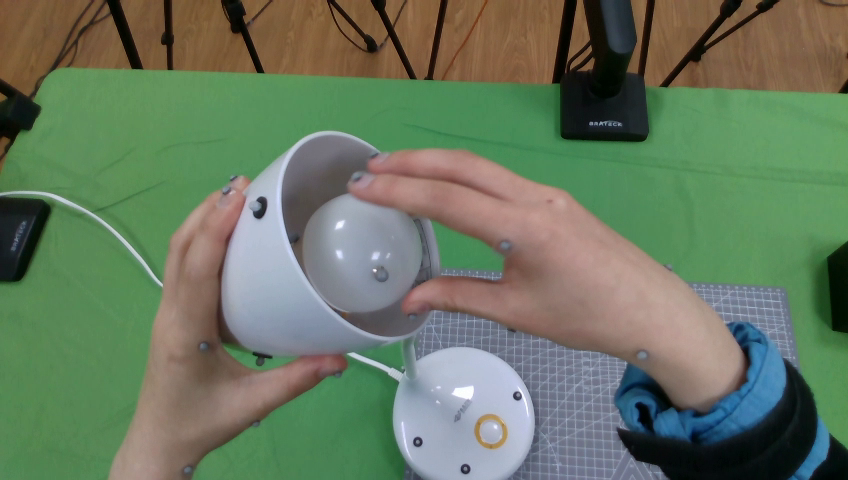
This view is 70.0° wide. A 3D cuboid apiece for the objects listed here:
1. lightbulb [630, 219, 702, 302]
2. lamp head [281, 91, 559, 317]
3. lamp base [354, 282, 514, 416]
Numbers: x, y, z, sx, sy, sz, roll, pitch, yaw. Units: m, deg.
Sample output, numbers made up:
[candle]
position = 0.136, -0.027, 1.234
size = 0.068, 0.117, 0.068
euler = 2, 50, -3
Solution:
[lightbulb]
position = 0.264, 0.020, 0.674
size = 0.059, 0.060, 0.106
euler = -21, 57, -2
[lamp head]
position = -0.009, -0.023, 0.306
size = 0.123, 0.113, 0.112
euler = 8, 73, -5
[lamp base]
position = 0.000, 0.087, 0.604
size = 0.179, 0.181, 0.160
euler = 9, 73, 10
